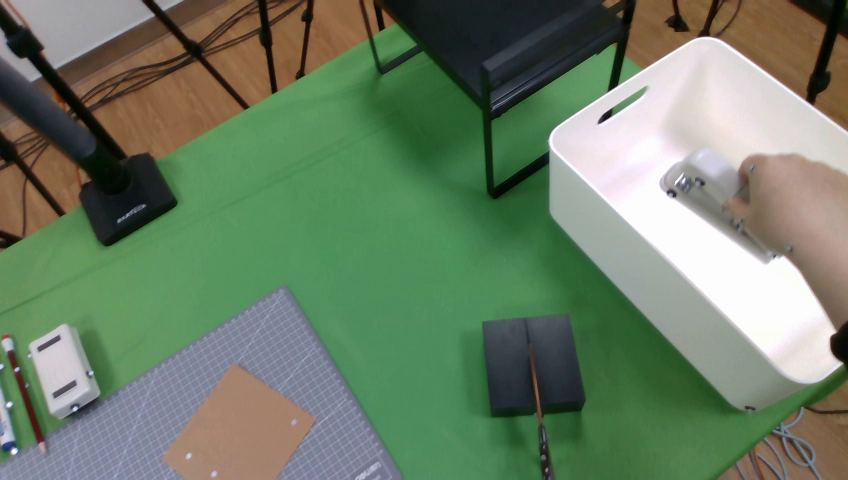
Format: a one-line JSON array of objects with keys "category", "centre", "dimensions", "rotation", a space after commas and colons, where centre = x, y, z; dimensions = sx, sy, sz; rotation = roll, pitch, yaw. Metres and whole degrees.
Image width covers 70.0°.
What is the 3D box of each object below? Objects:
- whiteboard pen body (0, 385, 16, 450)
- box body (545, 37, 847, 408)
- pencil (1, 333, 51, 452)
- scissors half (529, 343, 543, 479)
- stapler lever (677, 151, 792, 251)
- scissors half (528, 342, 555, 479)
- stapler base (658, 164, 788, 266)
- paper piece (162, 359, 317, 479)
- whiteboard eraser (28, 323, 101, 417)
[{"category": "whiteboard pen body", "centre": [-0.544, 0.205, 0.771], "dimensions": [0.017, 0.017, 0.139], "rotation": [-33, 62, -10]}, {"category": "box body", "centre": [0.340, -0.023, 0.693], "dimensions": [0.254, 0.162, 0.360], "rotation": [-34, 63, -10]}, {"category": "pencil", "centre": [-0.510, 0.193, 0.776], "dimensions": [0.012, 0.012, 0.192], "rotation": [-36, 63, -12]}, {"category": "scissors half", "centre": [0.125, 0.199, 0.652], "dimensions": [0.013, 0.040, 0.174], "rotation": [-7, 80, 3]}, {"category": "stapler lever", "centre": [0.294, -0.039, 0.572], "dimensions": [0.117, 0.040, 0.027], "rotation": [41, 81, 17]}, {"category": "scissors half", "centre": [0.122, 0.192, 0.633], "dimensions": [0.013, 0.040, 0.173], "rotation": [-9, 64, 8]}, {"category": "stapler base", "centre": [0.295, -0.031, 0.596], "dimensions": [0.130, 0.024, 0.041], "rotation": [41, 81, 17]}, {"category": "paper piece", "centre": [-0.219, 0.232, 0.716], "dimensions": [0.137, 0.009, 0.135], "rotation": [28, 73, 18]}, {"category": "whiteboard eraser", "centre": [-0.454, 0.164, 0.767], "dimensions": [0.055, 0.042, 0.111], "rotation": [-34, 63, -10]}]
